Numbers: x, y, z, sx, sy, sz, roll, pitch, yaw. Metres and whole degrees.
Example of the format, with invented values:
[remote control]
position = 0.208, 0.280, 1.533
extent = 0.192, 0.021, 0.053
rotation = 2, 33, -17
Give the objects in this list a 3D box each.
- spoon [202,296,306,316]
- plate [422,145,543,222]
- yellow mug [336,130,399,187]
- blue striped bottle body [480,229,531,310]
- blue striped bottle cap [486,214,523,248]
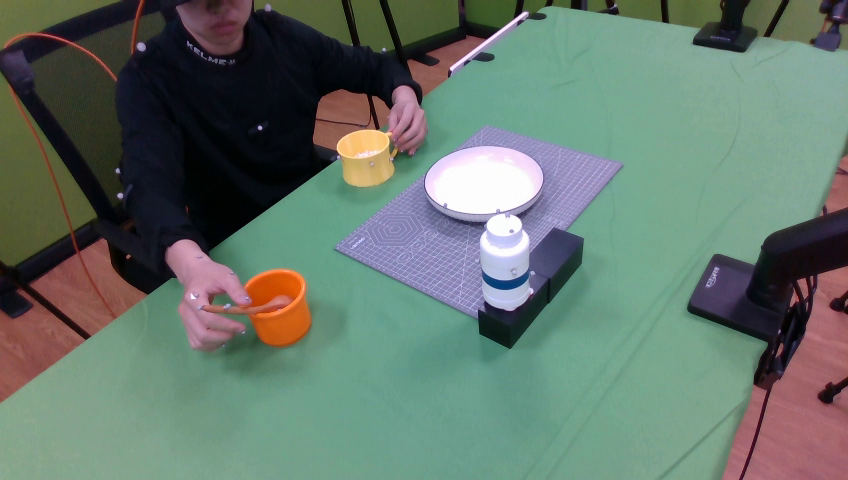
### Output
[spoon]
position = -0.217, 0.089, 0.792
extent = 0.041, 0.021, 0.195
rotation = 19, 7, 23
[plate]
position = 0.101, -0.094, 1.048
extent = 0.207, 0.039, 0.206
rotation = -4, 41, 4
[yellow mug]
position = -0.098, -0.161, 1.138
extent = 0.131, 0.064, 0.099
rotation = -33, 46, -28
[blue striped bottle body]
position = 0.104, 0.027, 0.769
extent = 0.063, 0.121, 0.063
rotation = -4, 40, 4
[blue striped bottle cap]
position = 0.098, -0.011, 0.735
extent = 0.044, 0.021, 0.044
rotation = -2, 38, 2
